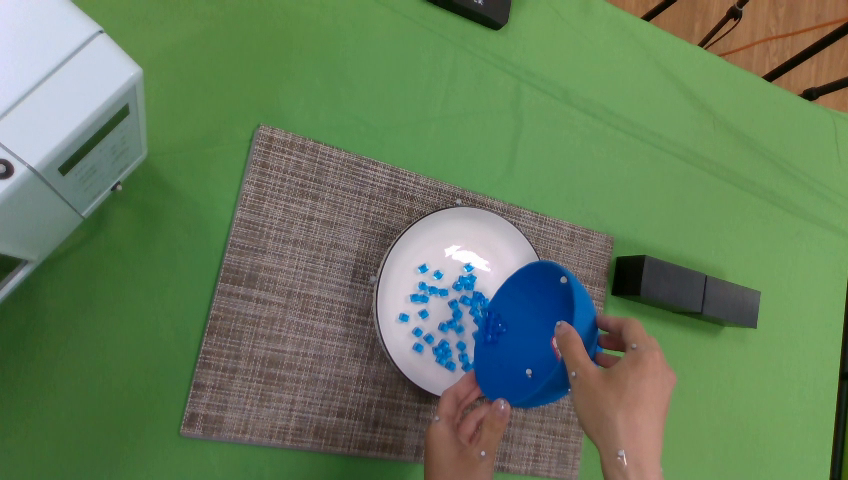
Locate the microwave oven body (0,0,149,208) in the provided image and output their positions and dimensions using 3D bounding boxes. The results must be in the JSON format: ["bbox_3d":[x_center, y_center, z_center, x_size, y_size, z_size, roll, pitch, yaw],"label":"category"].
[{"bbox_3d":[-0.440,-0.034,0.331,0.328,0.259,0.440,43,72,-16],"label":"microwave oven body"}]

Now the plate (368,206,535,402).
[{"bbox_3d":[0.035,0.068,0.656,0.209,0.039,0.207,2,86,-24],"label":"plate"}]

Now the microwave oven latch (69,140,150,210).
[{"bbox_3d":[-0.269,-0.063,0.513,0.030,0.029,0.079,45,71,-15],"label":"microwave oven latch"}]

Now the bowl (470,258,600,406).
[{"bbox_3d":[0.122,0.101,0.609,0.077,0.150,0.151,26,76,-24],"label":"bowl"}]

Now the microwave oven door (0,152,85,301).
[{"bbox_3d":[-0.358,0.093,0.354,0.039,0.243,0.355,43,71,-15],"label":"microwave oven door"}]
